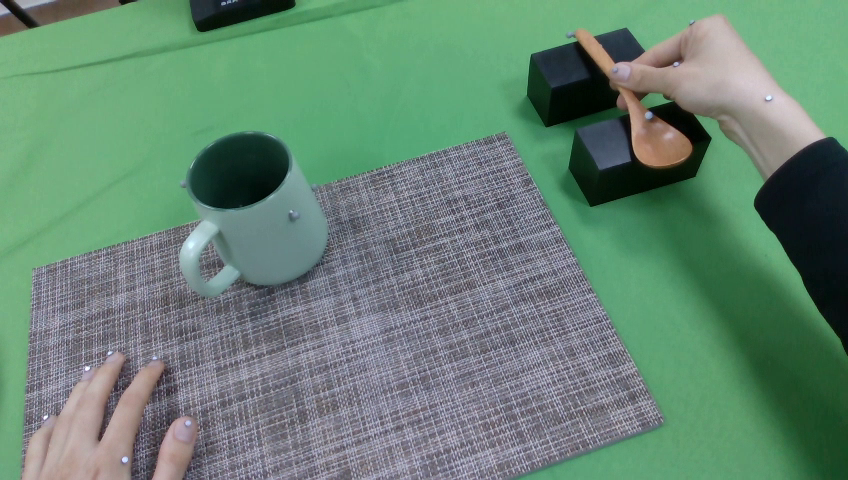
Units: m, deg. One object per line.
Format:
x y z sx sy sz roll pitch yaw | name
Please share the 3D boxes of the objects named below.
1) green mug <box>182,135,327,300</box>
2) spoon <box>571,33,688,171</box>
-0.140 -0.008 0.482 0.092 0.106 0.125 24 62 19 | green mug
0.171 -0.127 0.526 0.041 0.022 0.191 -21 56 5 | spoon
